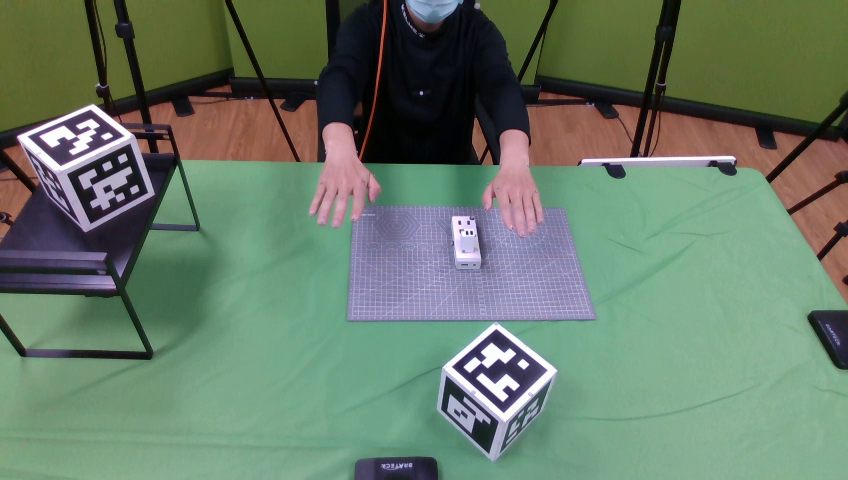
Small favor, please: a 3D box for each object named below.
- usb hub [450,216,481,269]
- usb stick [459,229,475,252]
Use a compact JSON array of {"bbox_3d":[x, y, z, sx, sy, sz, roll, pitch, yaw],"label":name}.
[{"bbox_3d":[0.082,0.004,1.194,0.049,0.025,0.124,0,46,-4],"label":"usb hub"},{"bbox_3d":[0.081,0.006,1.151,0.027,0.059,0.021,-1,45,-6],"label":"usb stick"}]
